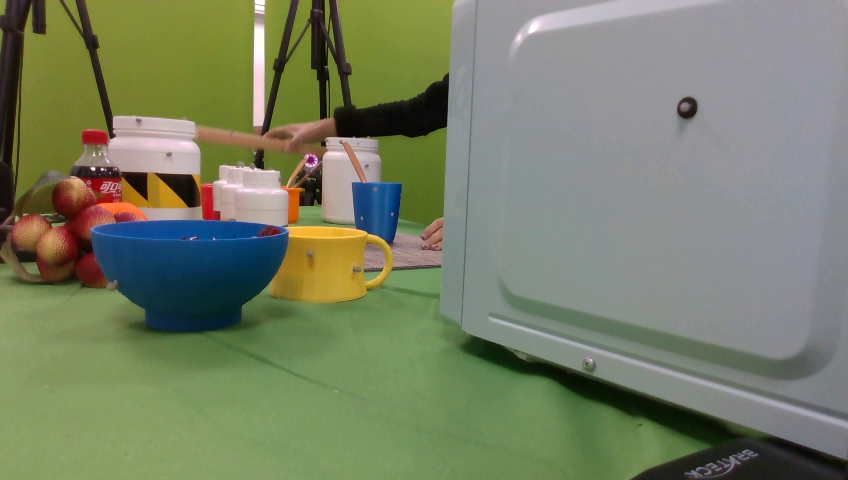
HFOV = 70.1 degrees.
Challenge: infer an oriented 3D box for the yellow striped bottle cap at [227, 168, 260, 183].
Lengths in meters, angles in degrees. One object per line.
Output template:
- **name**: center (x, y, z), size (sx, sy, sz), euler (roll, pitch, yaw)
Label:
- **yellow striped bottle cap**: center (-0.243, -0.087, 0.818), size (0.044, 0.018, 0.044), euler (3, 6, 0)

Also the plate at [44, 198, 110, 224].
- **plate**: center (-0.617, -0.056, 1.179), size (0.209, 0.038, 0.209), euler (3, 7, 0)

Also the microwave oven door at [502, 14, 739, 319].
- **microwave oven door**: center (0.217, -0.065, 0.601), size (0.358, 0.243, 0.039), euler (-4, 10, -41)

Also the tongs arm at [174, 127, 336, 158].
- **tongs arm**: center (-0.394, -0.230, 1.447), size (0.390, 0.028, 0.028), euler (2, 4, -35)

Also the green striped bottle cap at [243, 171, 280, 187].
- **green striped bottle cap**: center (-0.198, -0.074, 0.736), size (0.044, 0.020, 0.044), euler (1, 7, 0)

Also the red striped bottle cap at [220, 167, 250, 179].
- **red striped bottle cap**: center (-0.281, -0.100, 0.901), size (0.044, 0.017, 0.044), euler (-1, 5, 0)

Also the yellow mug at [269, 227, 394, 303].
- **yellow mug**: center (-0.094, 0.023, 0.629), size (0.131, 0.064, 0.099), euler (0, 6, -22)

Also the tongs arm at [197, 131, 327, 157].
- **tongs arm**: center (-0.345, -0.216, 1.394), size (0.050, 0.026, 0.387), euler (13, 9, 44)

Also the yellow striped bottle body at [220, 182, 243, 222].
- **yellow striped bottle body**: center (-0.245, -0.036, 0.825), size (0.063, 0.120, 0.063), euler (3, 8, 0)

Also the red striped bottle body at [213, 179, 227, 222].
- **red striped bottle body**: center (-0.284, -0.048, 0.909), size (0.063, 0.119, 0.063), euler (3, 11, 0)

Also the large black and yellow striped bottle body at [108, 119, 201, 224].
- **large black and yellow striped bottle body**: center (-0.412, -0.088, 0.930), size (0.131, 0.184, 0.130), euler (3, 7, 0)

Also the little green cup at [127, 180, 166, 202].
- **little green cup**: center (-0.486, -0.086, 1.061), size (0.061, 0.038, 0.061), euler (1, 7, 0)

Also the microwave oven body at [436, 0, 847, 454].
- **microwave oven body**: center (0.279, -0.040, 0.465), size (0.444, 0.260, 0.324), euler (-3, 9, -41)

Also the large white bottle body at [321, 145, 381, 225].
- **large white bottle body**: center (-0.161, -0.131, 1.340), size (0.131, 0.184, 0.130), euler (2, 8, 0)

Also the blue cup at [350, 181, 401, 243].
- **blue cup**: center (-0.080, -0.047, 1.011), size (0.093, 0.100, 0.092), euler (-1, 7, 0)

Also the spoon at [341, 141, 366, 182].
- **spoon**: center (-0.103, -0.089, 1.031), size (0.042, 0.193, 0.021), euler (-9, -17, -38)

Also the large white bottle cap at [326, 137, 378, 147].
- **large white bottle cap**: center (-0.158, -0.214, 1.329), size (0.115, 0.018, 0.115), euler (2, 8, 0)

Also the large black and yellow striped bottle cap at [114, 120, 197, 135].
- **large black and yellow striped bottle cap**: center (-0.407, -0.171, 0.920), size (0.115, 0.019, 0.115), euler (2, 9, 0)

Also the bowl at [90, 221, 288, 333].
- **bowl**: center (-0.190, 0.029, 0.500), size (0.151, 0.077, 0.151), euler (3, 7, 0)

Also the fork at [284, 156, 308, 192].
- **fork**: center (-0.295, -0.116, 1.322), size (0.028, 0.019, 0.207), euler (0, 49, 21)

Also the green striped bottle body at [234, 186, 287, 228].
- **green striped bottle body**: center (-0.200, -0.023, 0.743), size (0.063, 0.119, 0.063), euler (2, 7, 0)

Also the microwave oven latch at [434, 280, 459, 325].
- **microwave oven latch**: center (0.044, 0.045, 0.470), size (0.079, 0.029, 0.030), euler (-2, 8, -39)

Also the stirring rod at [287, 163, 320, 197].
- **stirring rod**: center (-0.283, -0.107, 1.298), size (0.014, 0.006, 0.176), euler (10, 53, 51)
